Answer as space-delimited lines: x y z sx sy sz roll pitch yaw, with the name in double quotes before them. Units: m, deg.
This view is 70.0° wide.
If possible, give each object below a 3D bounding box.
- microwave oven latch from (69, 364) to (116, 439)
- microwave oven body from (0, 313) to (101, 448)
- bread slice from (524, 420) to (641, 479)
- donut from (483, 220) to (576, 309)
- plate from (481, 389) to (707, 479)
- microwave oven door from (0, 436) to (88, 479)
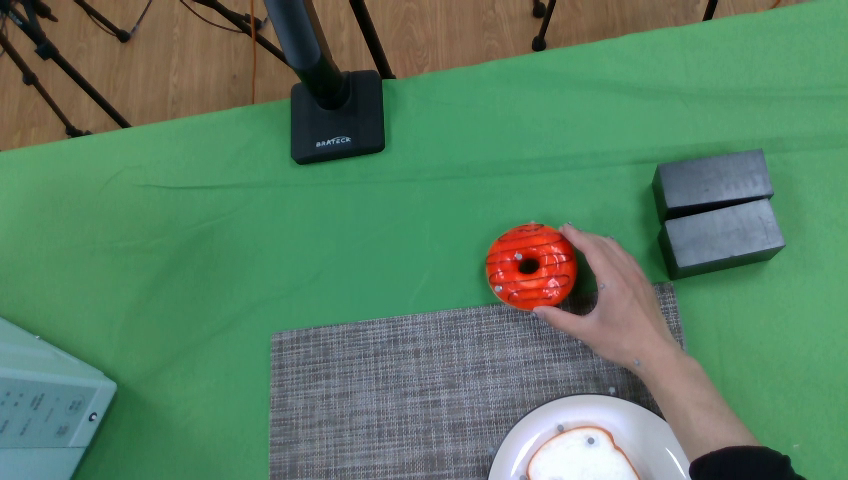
"microwave oven latch" -0.387 0.186 0.696 0.030 0.030 0.079 22 80 18
"microwave oven body" -0.610 0.268 0.617 0.324 0.262 0.440 20 79 17
"bread slice" 0.155 0.241 0.572 0.105 0.019 0.130 -28 70 2
"donut" 0.112 0.026 0.646 0.099 0.048 0.098 -6 69 17
"plate" 0.158 0.247 0.569 0.207 0.039 0.206 -4 73 12
"microwave oven door" -0.497 0.352 0.561 0.039 0.246 0.355 20 78 19
